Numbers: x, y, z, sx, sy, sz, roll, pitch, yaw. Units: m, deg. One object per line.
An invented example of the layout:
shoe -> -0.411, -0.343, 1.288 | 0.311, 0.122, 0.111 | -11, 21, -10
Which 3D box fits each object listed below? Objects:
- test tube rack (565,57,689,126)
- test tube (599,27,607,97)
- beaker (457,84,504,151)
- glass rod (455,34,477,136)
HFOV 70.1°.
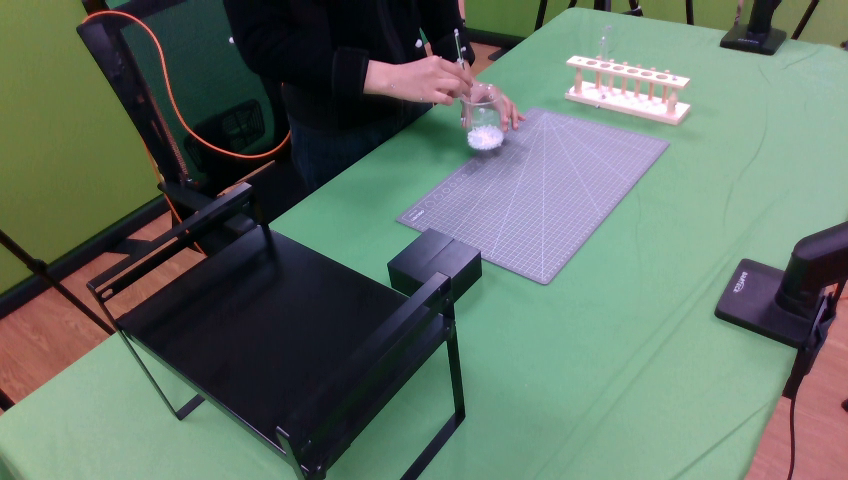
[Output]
test tube rack -> 0.411, -0.311, 1.230 | 0.240, 0.085, 0.067 | 23, 49, 32
test tube -> 0.358, -0.353, 1.210 | 0.017, 0.151, 0.017 | -8, 43, 8
beaker -> 0.106, -0.220, 1.098 | 0.083, 0.101, 0.074 | 3, 42, 15
glass rod -> 0.075, -0.266, 1.057 | 0.008, 0.201, 0.008 | -9, 42, 9
